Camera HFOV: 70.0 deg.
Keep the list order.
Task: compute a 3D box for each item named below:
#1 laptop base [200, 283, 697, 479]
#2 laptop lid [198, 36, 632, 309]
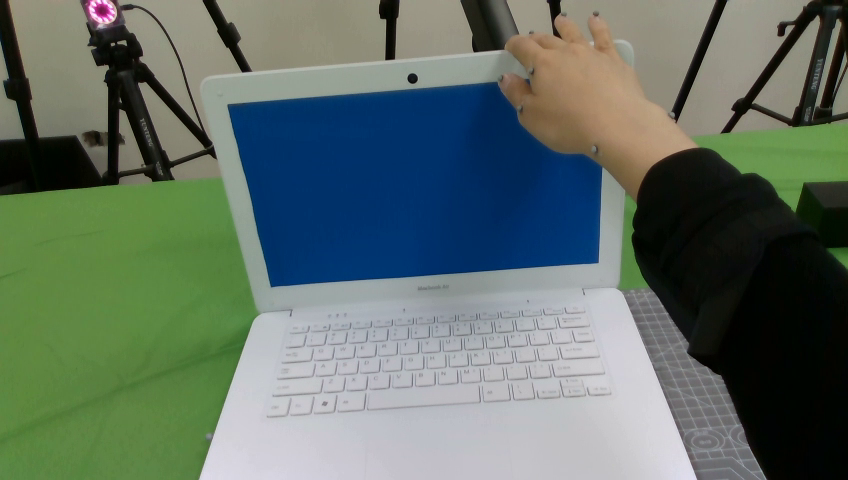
[{"bbox_3d":[0.011,0.128,0.494,0.354,0.023,0.233,-5,38,3],"label":"laptop base"},{"bbox_3d":[0.000,-0.044,0.537,0.356,0.243,0.013,-6,28,4],"label":"laptop lid"}]
